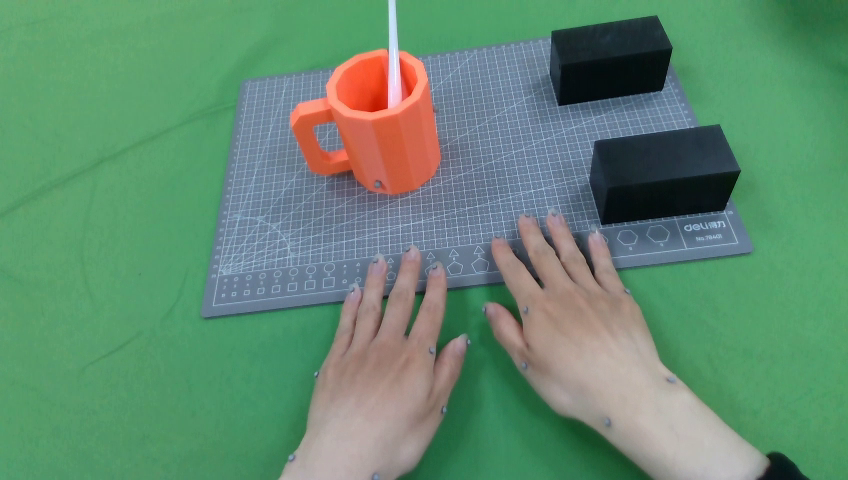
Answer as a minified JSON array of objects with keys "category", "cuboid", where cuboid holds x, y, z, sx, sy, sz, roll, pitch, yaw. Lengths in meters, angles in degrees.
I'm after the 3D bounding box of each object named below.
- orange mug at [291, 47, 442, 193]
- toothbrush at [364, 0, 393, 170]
[{"category":"orange mug","cuboid":[-0.050,-0.102,0.537,0.126,0.102,0.082,-11,55,-4]},{"category":"toothbrush","cuboid":[-0.033,-0.148,0.506,0.016,0.182,0.014,19,17,36]}]
